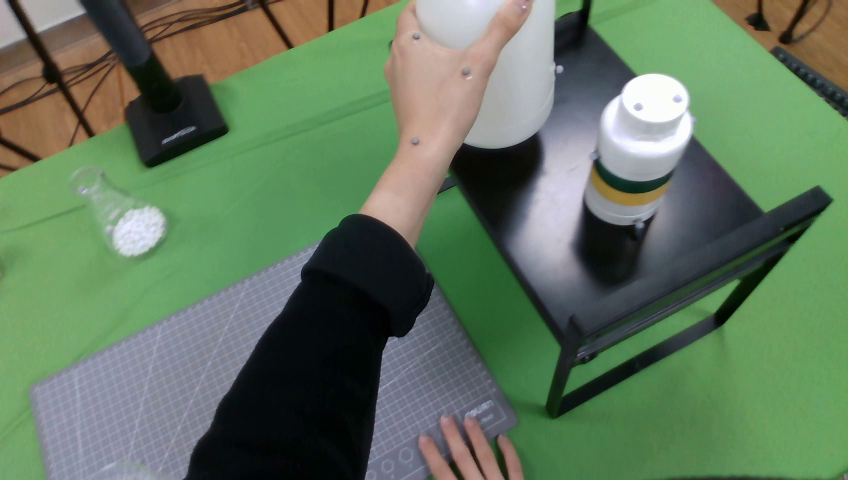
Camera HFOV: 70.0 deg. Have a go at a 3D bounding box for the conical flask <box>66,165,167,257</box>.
[{"bbox_3d":[-0.361,-0.038,0.704,0.075,0.123,0.074,-3,61,5],"label":"conical flask"}]

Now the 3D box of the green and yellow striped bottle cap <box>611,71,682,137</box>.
[{"bbox_3d":[0.153,-0.095,0.418,0.045,0.020,0.045,-2,64,4],"label":"green and yellow striped bottle cap"}]

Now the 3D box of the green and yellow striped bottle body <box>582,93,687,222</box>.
[{"bbox_3d":[0.159,-0.069,0.463,0.063,0.121,0.062,-3,61,5],"label":"green and yellow striped bottle body"}]

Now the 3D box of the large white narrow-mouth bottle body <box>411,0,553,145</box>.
[{"bbox_3d":[0.044,-0.164,0.460,0.101,0.196,0.101,-6,62,11],"label":"large white narrow-mouth bottle body"}]

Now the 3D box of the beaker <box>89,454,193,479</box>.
[{"bbox_3d":[-0.256,0.245,0.554,0.084,0.101,0.073,-18,61,-3],"label":"beaker"}]
